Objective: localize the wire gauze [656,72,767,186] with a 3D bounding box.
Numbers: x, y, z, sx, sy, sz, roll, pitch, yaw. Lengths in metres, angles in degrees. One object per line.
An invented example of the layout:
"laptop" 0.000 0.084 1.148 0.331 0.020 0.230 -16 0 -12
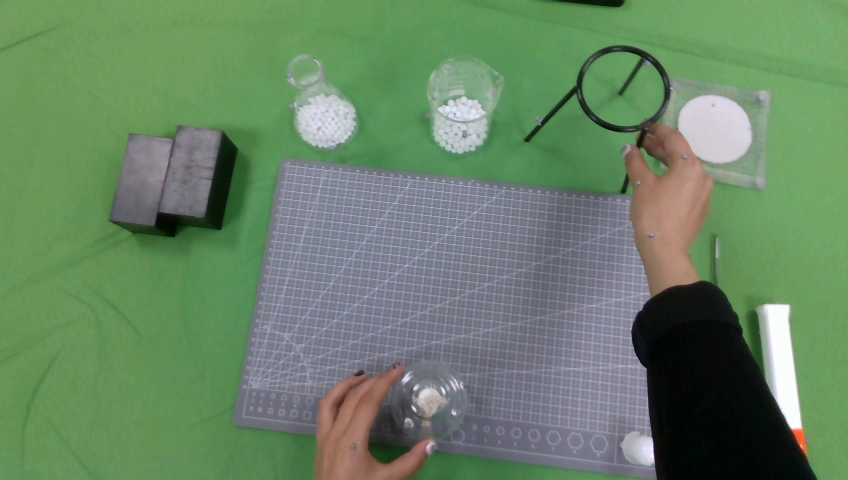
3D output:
"wire gauze" 0.335 -0.132 0.705 0.125 0.011 0.121 11 79 1

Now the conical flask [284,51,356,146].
"conical flask" -0.118 -0.157 0.654 0.075 0.122 0.075 0 77 1

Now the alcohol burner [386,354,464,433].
"alcohol burner" 0.001 0.149 0.590 0.078 0.119 0.077 0 75 -1

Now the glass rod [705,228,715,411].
"glass rod" 0.312 0.083 0.659 0.008 0.008 0.199 6 78 2

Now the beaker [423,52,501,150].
"beaker" 0.040 -0.148 0.664 0.084 0.100 0.073 -20 78 -4

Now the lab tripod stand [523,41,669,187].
"lab tripod stand" 0.187 -0.135 0.643 0.148 0.132 0.148 0 79 2

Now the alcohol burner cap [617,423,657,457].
"alcohol burner cap" 0.218 0.204 0.613 0.034 0.048 0.033 0 77 0

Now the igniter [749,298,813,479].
"igniter" 0.368 0.197 0.624 0.057 0.025 0.275 2 78 -10
